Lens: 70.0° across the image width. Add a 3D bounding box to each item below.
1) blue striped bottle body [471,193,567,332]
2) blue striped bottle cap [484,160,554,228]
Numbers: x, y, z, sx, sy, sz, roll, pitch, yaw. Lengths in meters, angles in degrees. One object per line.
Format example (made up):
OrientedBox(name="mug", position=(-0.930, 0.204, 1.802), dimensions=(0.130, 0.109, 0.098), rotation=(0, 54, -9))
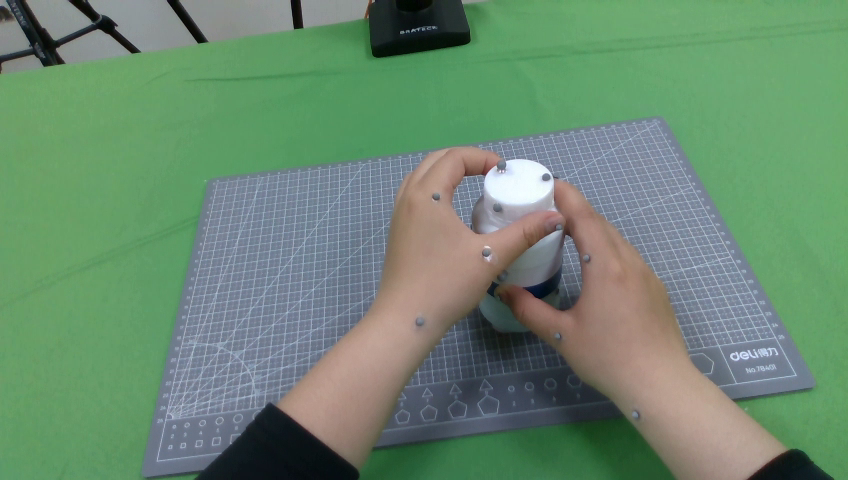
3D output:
OrientedBox(name="blue striped bottle body", position=(0.065, 0.006, 0.420), dimensions=(0.063, 0.122, 0.062), rotation=(-4, 48, 5))
OrientedBox(name="blue striped bottle cap", position=(0.059, -0.029, 0.379), dimensions=(0.044, 0.021, 0.044), rotation=(-4, 46, 4))
